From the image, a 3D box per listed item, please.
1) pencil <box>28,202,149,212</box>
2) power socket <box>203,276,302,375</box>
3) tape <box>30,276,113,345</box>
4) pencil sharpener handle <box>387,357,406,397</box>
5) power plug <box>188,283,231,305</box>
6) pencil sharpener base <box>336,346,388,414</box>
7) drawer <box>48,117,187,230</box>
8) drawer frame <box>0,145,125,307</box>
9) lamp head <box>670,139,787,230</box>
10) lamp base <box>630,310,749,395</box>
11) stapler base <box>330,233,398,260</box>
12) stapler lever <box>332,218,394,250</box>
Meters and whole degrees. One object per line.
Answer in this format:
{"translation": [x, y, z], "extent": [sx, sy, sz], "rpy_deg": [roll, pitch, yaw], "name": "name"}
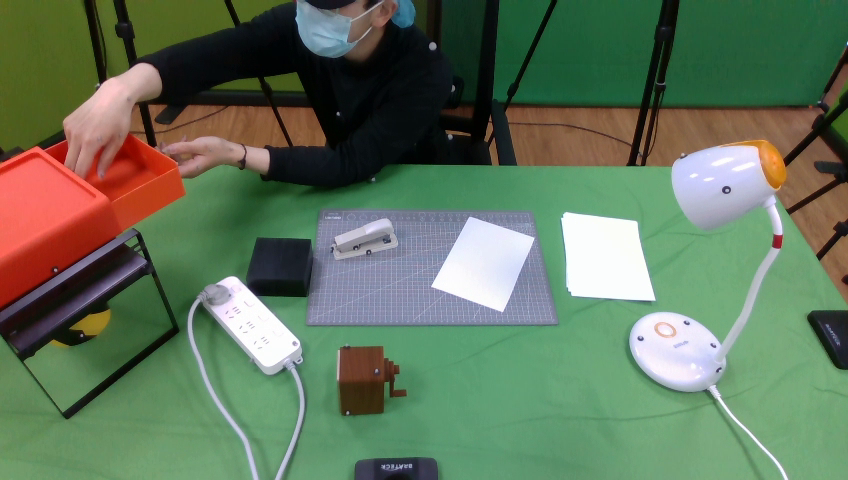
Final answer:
{"translation": [-0.527, -0.050, 0.953], "extent": [0.194, 0.012, 0.012], "rpy_deg": [2, 46, 2], "name": "pencil"}
{"translation": [-0.297, 0.141, 1.034], "extent": [0.072, 0.033, 0.225], "rpy_deg": [-34, 58, -30], "name": "power socket"}
{"translation": [-0.594, 0.118, 1.022], "extent": [0.117, 0.053, 0.116], "rpy_deg": [3, 45, -2], "name": "tape"}
{"translation": [-0.041, 0.209, 0.919], "extent": [0.031, 0.068, 0.036], "rpy_deg": [-1, 24, -6], "name": "pencil sharpener handle"}
{"translation": [-0.368, 0.099, 1.037], "extent": [0.072, 0.053, 0.035], "rpy_deg": [-23, 52, -25], "name": "power plug"}
{"translation": [-0.093, 0.215, 0.927], "extent": [0.077, 0.107, 0.061], "rpy_deg": [-1, 46, -6], "name": "pencil sharpener base"}
{"translation": [-0.525, -0.087, 0.956], "extent": [0.193, 0.073, 0.211], "rpy_deg": [32, 53, 23], "name": "drawer"}
{"translation": [-0.597, -0.024, 0.887], "extent": [0.201, 0.083, 0.213], "rpy_deg": [30, 52, 22], "name": "drawer frame"}
{"translation": [0.415, -0.079, 0.812], "extent": [0.113, 0.123, 0.112], "rpy_deg": [13, 70, -37], "name": "lamp head"}
{"translation": [0.447, 0.143, 0.984], "extent": [0.161, 0.181, 0.178], "rpy_deg": [-24, 55, -24], "name": "lamp base"}
{"translation": [-0.116, 0.004, 1.181], "extent": [0.131, 0.024, 0.041], "rpy_deg": [-13, 47, -14], "name": "stapler base"}
{"translation": [-0.116, -0.012, 1.162], "extent": [0.118, 0.040, 0.026], "rpy_deg": [-13, 47, -14], "name": "stapler lever"}
